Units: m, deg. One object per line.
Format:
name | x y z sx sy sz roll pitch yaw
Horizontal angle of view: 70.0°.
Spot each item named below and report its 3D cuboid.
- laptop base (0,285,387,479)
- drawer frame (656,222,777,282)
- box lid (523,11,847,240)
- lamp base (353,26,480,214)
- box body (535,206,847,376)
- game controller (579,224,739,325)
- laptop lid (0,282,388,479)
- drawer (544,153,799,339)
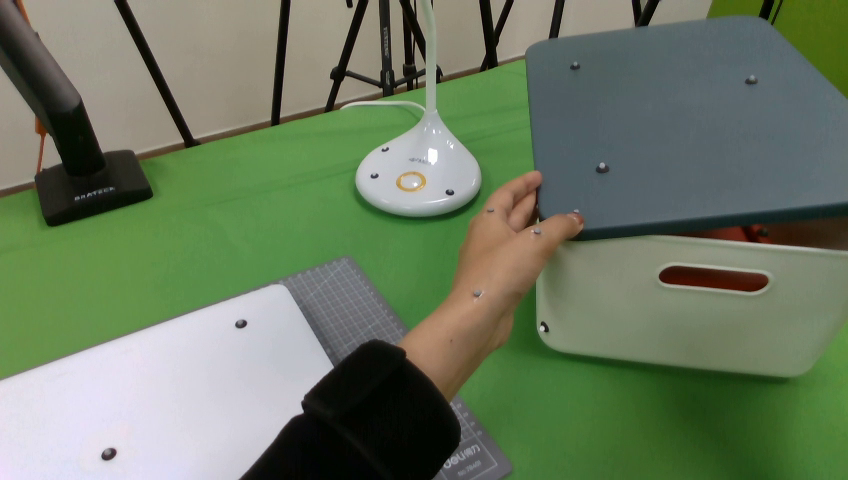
laptop base | -0.234 0.168 0.460 0.355 0.023 0.233 -20 47 -24
drawer frame | 0.226 -0.005 0.615 0.201 0.083 0.211 3 38 2
box lid | 0.228 -0.126 0.560 0.263 0.015 0.368 -6 38 11
lamp base | -0.008 -0.151 0.726 0.160 0.182 0.178 5 38 6
box body | 0.245 -0.050 0.622 0.254 0.162 0.361 5 40 6
game controller | 0.229 0.032 0.589 0.155 0.052 0.096 1 68 0
laptop lid | -0.232 0.161 0.451 0.357 0.013 0.239 -19 46 -22
drawer | 0.229 -0.004 0.613 0.194 0.074 0.210 4 39 2
